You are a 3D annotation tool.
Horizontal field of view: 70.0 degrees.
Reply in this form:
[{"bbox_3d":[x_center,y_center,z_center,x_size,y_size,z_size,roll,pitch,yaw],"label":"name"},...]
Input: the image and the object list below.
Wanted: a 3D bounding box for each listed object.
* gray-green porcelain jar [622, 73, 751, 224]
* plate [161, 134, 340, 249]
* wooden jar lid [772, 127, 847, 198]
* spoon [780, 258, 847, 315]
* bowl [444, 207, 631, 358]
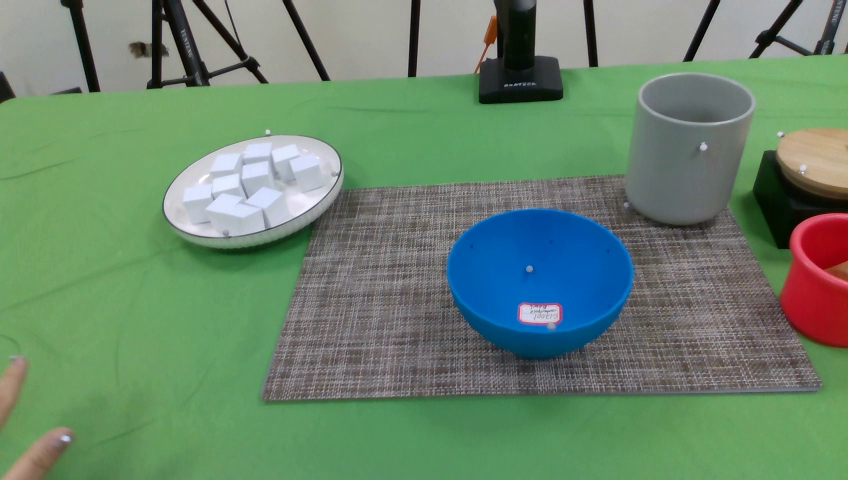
[{"bbox_3d":[0.259,-0.088,0.615,0.106,0.128,0.105,-4,41,4],"label":"gray-green porcelain jar"},{"bbox_3d":[-0.199,-0.056,0.714,0.209,0.038,0.207,-5,40,4],"label":"plate"},{"bbox_3d":[0.398,-0.075,0.591,0.108,0.021,0.107,-5,40,4],"label":"wooden jar lid"},{"bbox_3d":[0.379,-0.001,0.488,0.022,0.194,0.041,32,27,-25],"label":"spoon"},{"bbox_3d":[0.094,0.047,0.517,0.151,0.077,0.150,-4,40,4],"label":"bowl"}]
